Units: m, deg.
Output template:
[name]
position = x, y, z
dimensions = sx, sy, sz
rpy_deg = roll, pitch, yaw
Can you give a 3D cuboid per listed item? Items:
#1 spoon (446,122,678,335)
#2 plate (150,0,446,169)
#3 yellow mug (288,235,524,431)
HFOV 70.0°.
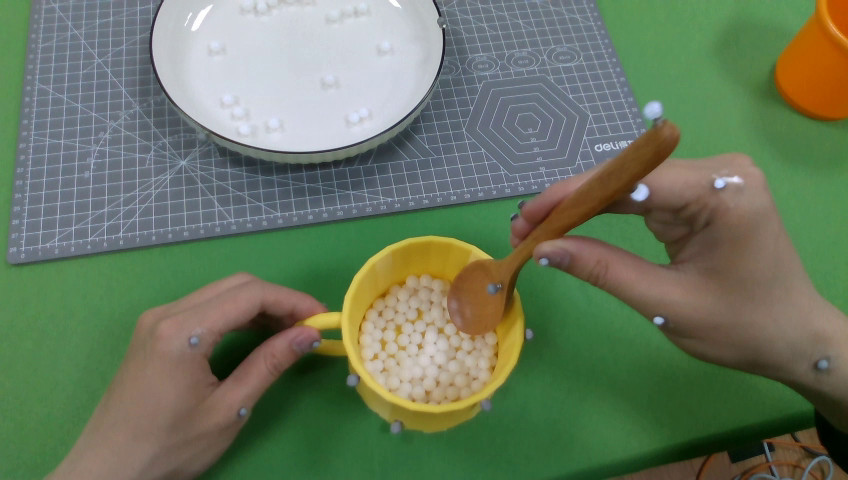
[spoon]
position = 0.050, 0.005, 0.281
dimensions = 0.022, 0.194, 0.041
rpy_deg = -12, 71, -21
[plate]
position = -0.088, -0.137, 0.447
dimensions = 0.208, 0.039, 0.206
rpy_deg = 2, 65, -4
[yellow mug]
position = -0.013, 0.055, 0.351
dimensions = 0.131, 0.064, 0.099
rpy_deg = 0, 65, -4
